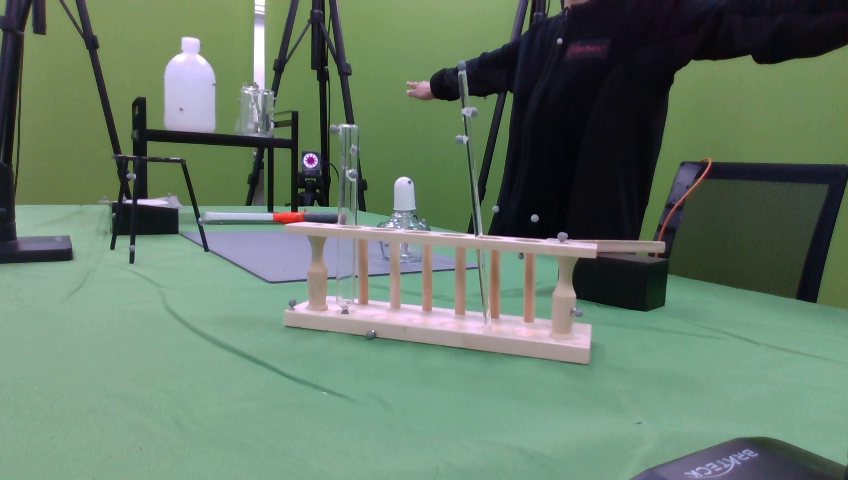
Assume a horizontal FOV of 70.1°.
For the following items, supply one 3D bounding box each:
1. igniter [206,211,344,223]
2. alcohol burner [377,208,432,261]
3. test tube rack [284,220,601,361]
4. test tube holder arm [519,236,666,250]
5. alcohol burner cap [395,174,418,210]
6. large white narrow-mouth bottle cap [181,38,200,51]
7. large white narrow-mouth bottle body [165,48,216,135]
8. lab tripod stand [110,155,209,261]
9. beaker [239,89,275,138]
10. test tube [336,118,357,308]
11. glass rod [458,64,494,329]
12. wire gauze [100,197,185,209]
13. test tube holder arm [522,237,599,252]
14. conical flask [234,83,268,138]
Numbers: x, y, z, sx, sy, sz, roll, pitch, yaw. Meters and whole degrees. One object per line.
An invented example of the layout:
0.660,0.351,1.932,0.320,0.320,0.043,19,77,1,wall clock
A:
-0.302,-0.048,1.249,0.278,0.025,0.057,-2,-2,-27,igniter
-0.027,-0.031,0.838,0.078,0.119,0.078,0,6,0,alcohol burner
0.013,0.032,0.482,0.242,0.085,0.067,4,7,16,test tube rack
0.186,0.003,0.655,0.179,0.015,0.013,0,15,-19,test tube holder arm
-0.026,-0.067,0.833,0.034,0.048,0.034,-1,12,1,alcohol burner cap
-0.488,-0.407,1.265,0.038,0.024,0.037,2,7,0,large white narrow-mouth bottle cap
-0.491,-0.322,1.275,0.102,0.194,0.102,2,7,0,large white narrow-mouth bottle body
-0.361,-0.046,0.806,0.148,0.131,0.148,2,5,0,lab tripod stand
-0.361,-0.273,1.307,0.074,0.100,0.084,1,8,-11,beaker
-0.061,-0.019,0.476,0.017,0.150,0.017,2,11,0,test tube
0.040,-0.029,0.450,0.008,0.199,0.008,-7,9,1,glass rod
-0.469,-0.062,1.008,0.126,0.011,0.121,-2,8,-25,wire gauze
0.144,0.005,0.636,0.088,0.015,0.010,-1,15,-19,test tube holder arm
-0.400,-0.298,1.395,0.075,0.122,0.075,2,8,0,conical flask
